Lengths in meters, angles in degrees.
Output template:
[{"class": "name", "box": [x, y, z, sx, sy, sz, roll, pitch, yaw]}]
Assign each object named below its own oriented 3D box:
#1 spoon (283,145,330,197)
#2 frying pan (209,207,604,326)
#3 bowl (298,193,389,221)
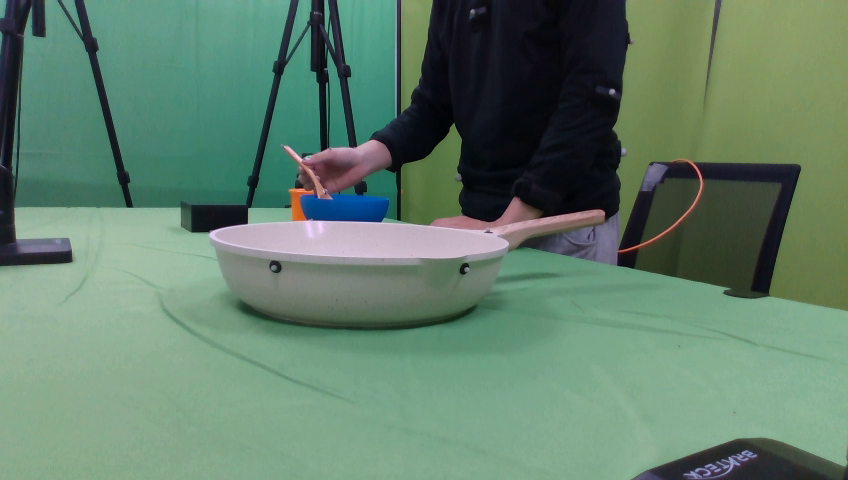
[{"class": "spoon", "box": [-0.201, -0.112, 1.075, 0.042, 0.021, 0.193, -1, 46, -49]}, {"class": "frying pan", "box": [0.026, 0.005, 0.665, 0.490, 0.102, 0.305, -12, 14, -30]}, {"class": "bowl", "box": [-0.136, -0.037, 1.018, 0.151, 0.077, 0.151, 2, 7, 0]}]
